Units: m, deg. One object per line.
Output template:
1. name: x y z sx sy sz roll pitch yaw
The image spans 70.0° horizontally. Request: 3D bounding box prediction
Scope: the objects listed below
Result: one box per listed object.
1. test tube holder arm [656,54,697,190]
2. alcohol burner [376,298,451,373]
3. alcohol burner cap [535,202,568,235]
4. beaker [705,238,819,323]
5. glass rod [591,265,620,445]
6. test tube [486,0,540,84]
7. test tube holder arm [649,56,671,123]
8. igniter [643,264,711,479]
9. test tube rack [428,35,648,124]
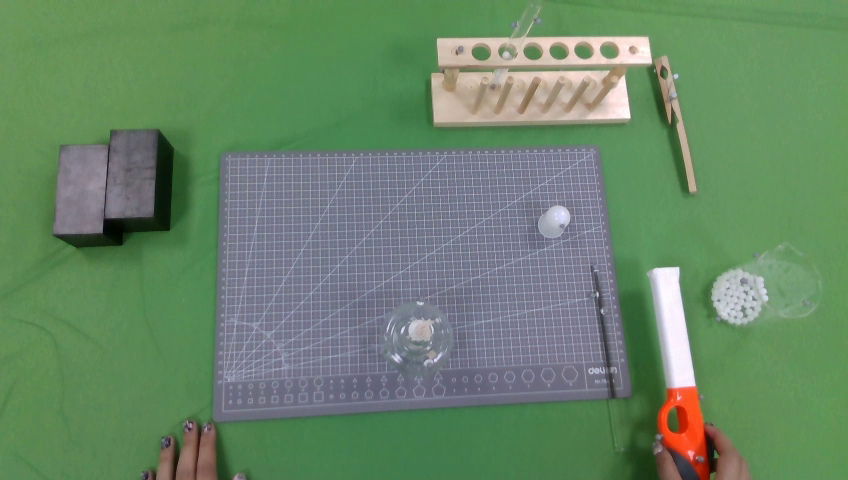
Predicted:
1. test tube holder arm: 0.312 -0.148 0.751 0.013 0.015 0.177 -17 76 28
2. alcohol burner: -0.010 0.094 0.613 0.078 0.119 0.077 1 73 -4
3. alcohol burner cap: 0.148 -0.027 0.694 0.034 0.048 0.033 1 76 -4
4. beaker: 0.365 0.049 0.667 0.074 0.100 0.083 11 74 -1
5. glass rod: 0.202 0.125 0.678 0.008 0.008 0.198 -3 76 -6
6. test tube: 0.094 -0.215 0.665 0.017 0.150 0.017 3 72 -10
7. test tube holder arm: 0.300 -0.189 0.763 0.010 0.015 0.087 -17 76 28
8. igniter: 0.268 0.162 0.643 0.057 0.025 0.275 -2 79 -11
9. test tube rack: 0.130 -0.187 0.712 0.243 0.085 0.066 -2 76 -5
